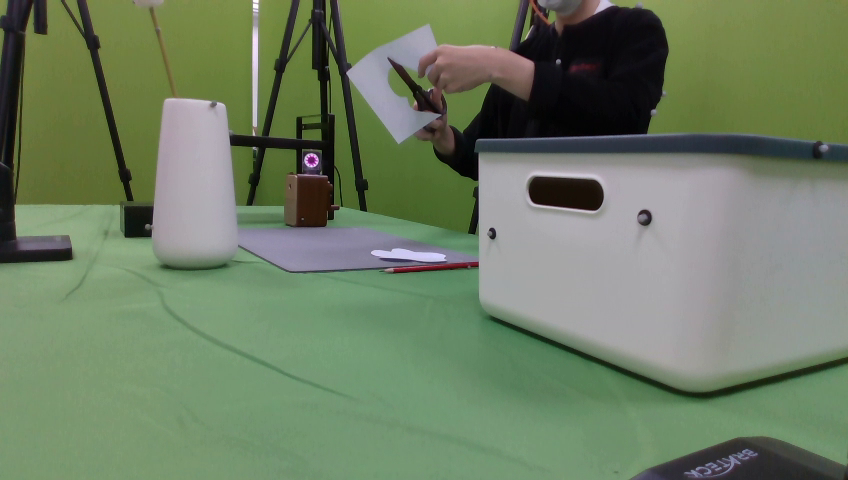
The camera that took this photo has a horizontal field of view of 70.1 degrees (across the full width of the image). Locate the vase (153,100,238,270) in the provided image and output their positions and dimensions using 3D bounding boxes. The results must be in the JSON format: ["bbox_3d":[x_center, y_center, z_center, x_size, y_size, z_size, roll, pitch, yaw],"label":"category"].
[{"bbox_3d":[-0.278,-0.066,0.736,0.098,0.200,0.098,2,9,0],"label":"vase"}]

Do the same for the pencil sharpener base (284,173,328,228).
[{"bbox_3d":[-0.239,-0.081,1.231,0.077,0.107,0.061,-2,8,-36],"label":"pencil sharpener base"}]

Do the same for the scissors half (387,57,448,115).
[{"bbox_3d":[-0.009,-0.276,1.080,0.013,0.040,0.176,7,-14,41],"label":"scissors half"}]

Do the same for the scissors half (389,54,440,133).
[{"bbox_3d":[-0.019,-0.258,1.073,0.012,0.176,0.040,13,58,43],"label":"scissors half"}]

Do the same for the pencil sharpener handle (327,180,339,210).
[{"bbox_3d":[-0.194,-0.095,1.256,0.031,0.067,0.036,-2,-6,-36],"label":"pencil sharpener handle"}]

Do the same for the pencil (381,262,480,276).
[{"bbox_3d":[0.030,0.037,0.794,0.195,0.012,0.012,-3,9,-30],"label":"pencil"}]

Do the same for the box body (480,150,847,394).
[{"bbox_3d":[0.254,0.001,0.539,0.366,0.160,0.253,-2,9,-31],"label":"box body"}]

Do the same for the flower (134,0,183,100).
[{"bbox_3d":[-0.282,-0.147,0.713,0.038,0.362,0.044,-23,24,-31],"label":"flower"}]

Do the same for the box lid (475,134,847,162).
[{"bbox_3d":[0.256,-0.073,0.528,0.373,0.015,0.262,-2,8,-31],"label":"box lid"}]
